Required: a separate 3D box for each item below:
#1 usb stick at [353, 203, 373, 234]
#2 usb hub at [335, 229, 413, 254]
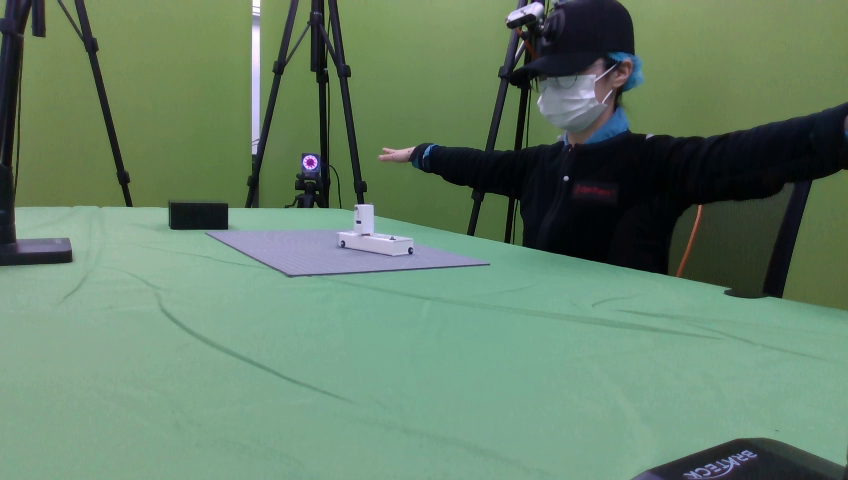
[{"bbox_3d":[-0.094,-0.028,0.936,0.021,0.059,0.027,6,11,39],"label":"usb stick"},{"bbox_3d":[-0.080,0.001,0.947,0.124,0.025,0.050,7,10,39],"label":"usb hub"}]
